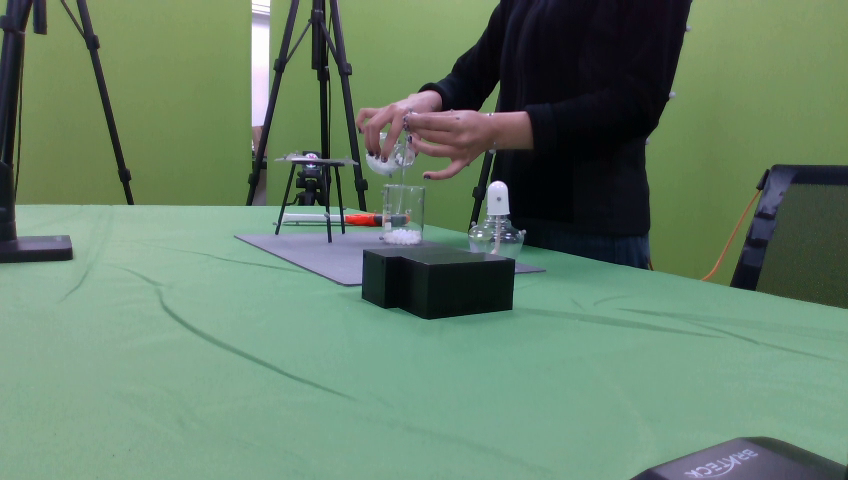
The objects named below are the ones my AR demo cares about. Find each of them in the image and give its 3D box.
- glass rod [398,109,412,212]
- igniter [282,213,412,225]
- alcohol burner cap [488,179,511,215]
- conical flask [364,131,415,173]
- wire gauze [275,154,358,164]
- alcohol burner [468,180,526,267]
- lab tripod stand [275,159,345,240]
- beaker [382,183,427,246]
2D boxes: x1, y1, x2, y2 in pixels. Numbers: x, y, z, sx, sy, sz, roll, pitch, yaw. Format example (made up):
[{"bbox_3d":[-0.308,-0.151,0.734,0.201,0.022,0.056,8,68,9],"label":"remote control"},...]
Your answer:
[{"bbox_3d":[-0.030,-0.122,0.970,0.008,0.199,0.008,5,42,-4],"label":"glass rod"},{"bbox_3d":[-0.159,-0.046,1.286,0.278,0.025,0.057,0,-3,-22],"label":"igniter"},{"bbox_3d":[0.101,-0.058,0.816,0.034,0.048,0.034,-4,9,1],"label":"alcohol burner cap"},{"bbox_3d":[-0.053,-0.148,1.031,0.075,0.075,0.121,-1,10,-22],"label":"conical flask"},{"bbox_3d":[-0.179,-0.137,1.028,0.121,0.011,0.125,4,8,0],"label":"wire gauze"},{"bbox_3d":[0.101,-0.022,0.821,0.078,0.119,0.078,4,8,0],"label":"alcohol burner"},{"bbox_3d":[-0.181,-0.072,1.039,0.148,0.131,0.148,4,8,0],"label":"lab tripod stand"},{"bbox_3d":[-0.033,-0.044,1.008,0.074,0.100,0.084,6,7,22],"label":"beaker"}]
